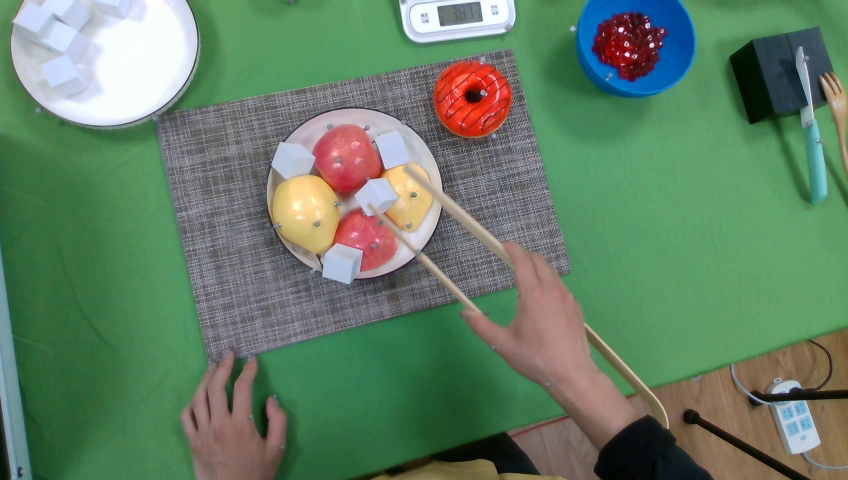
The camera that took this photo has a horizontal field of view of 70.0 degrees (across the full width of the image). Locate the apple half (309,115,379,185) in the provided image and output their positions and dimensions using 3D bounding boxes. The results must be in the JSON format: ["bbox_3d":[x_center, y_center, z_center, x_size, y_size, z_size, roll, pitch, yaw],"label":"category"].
[{"bbox_3d":[-0.095,-0.107,0.708,0.075,0.053,0.081,-26,90,-7],"label":"apple half"}]

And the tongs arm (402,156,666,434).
[{"bbox_3d":[0.113,0.053,0.631,0.387,0.028,0.028,45,74,1],"label":"tongs arm"}]

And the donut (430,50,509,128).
[{"bbox_3d":[0.056,-0.187,0.751,0.099,0.048,0.099,0,85,-4],"label":"donut"}]

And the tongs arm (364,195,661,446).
[{"bbox_3d":[0.089,0.078,0.625,0.050,0.026,0.384,-44,89,-12],"label":"tongs arm"}]

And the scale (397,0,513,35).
[{"bbox_3d":[0.030,-0.369,0.778,0.149,0.031,0.200,-9,85,-8],"label":"scale"}]

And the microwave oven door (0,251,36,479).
[{"bbox_3d":[-0.448,0.094,0.541,0.039,0.244,0.355,-11,85,-8],"label":"microwave oven door"}]

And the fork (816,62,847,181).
[{"bbox_3d":[0.555,-0.134,0.800,0.028,0.018,0.208,-23,102,-11],"label":"fork"}]

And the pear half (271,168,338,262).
[{"bbox_3d":[-0.130,-0.028,0.691,0.076,0.056,0.110,-20,90,-17],"label":"pear half"}]

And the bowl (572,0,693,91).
[{"bbox_3d":[0.251,-0.253,0.769,0.152,0.077,0.151,1,84,-7],"label":"bowl"}]

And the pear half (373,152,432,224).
[{"bbox_3d":[-0.027,-0.064,0.723,0.070,0.031,0.087,-12,83,5],"label":"pear half"}]

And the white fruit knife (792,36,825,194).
[{"bbox_3d":[0.498,-0.160,0.788,0.016,0.027,0.208,-16,100,-9],"label":"white fruit knife"}]

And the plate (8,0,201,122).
[{"bbox_3d":[-0.367,-0.235,0.711,0.208,0.039,0.207,1,83,-7],"label":"plate"}]

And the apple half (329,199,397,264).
[{"bbox_3d":[-0.072,-0.011,0.709,0.081,0.033,0.081,1,78,-6],"label":"apple half"}]

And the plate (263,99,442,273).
[{"bbox_3d":[-0.083,-0.063,0.722,0.209,0.038,0.208,1,83,-7],"label":"plate"}]
